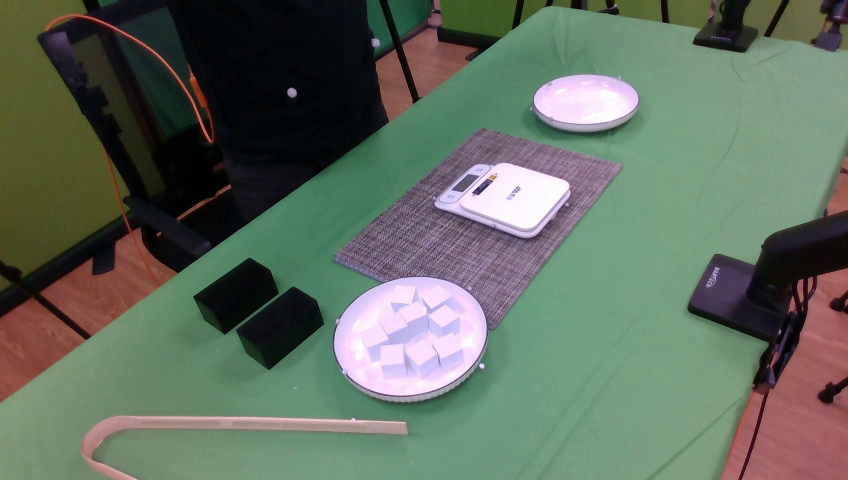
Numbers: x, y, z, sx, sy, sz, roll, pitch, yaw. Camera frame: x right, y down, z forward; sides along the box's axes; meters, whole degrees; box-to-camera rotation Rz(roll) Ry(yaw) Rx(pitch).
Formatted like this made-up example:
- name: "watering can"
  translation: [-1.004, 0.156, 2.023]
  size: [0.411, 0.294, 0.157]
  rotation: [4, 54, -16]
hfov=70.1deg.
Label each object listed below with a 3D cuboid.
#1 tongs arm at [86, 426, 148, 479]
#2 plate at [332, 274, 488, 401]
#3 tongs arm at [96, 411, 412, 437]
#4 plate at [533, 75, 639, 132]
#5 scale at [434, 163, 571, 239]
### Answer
- name: "tongs arm"
  translation: [-0.232, 0.280, 0.665]
  size: [0.383, 0.026, 0.051]
  rotation: [9, 42, 20]
- name: "plate"
  translation: [-0.017, 0.130, 0.808]
  size: [0.207, 0.039, 0.206]
  rotation: [-4, 41, 4]
- name: "tongs arm"
  translation: [-0.207, 0.226, 0.732]
  size: [0.387, 0.028, 0.028]
  rotation: [-1, 43, 7]
- name: "plate"
  translation: [0.327, -0.272, 1.228]
  size: [0.209, 0.038, 0.208]
  rotation: [-4, 40, 4]
- name: "scale"
  translation: [0.132, -0.075, 1.025]
  size: [0.199, 0.032, 0.149]
  rotation: [22, 48, 30]
